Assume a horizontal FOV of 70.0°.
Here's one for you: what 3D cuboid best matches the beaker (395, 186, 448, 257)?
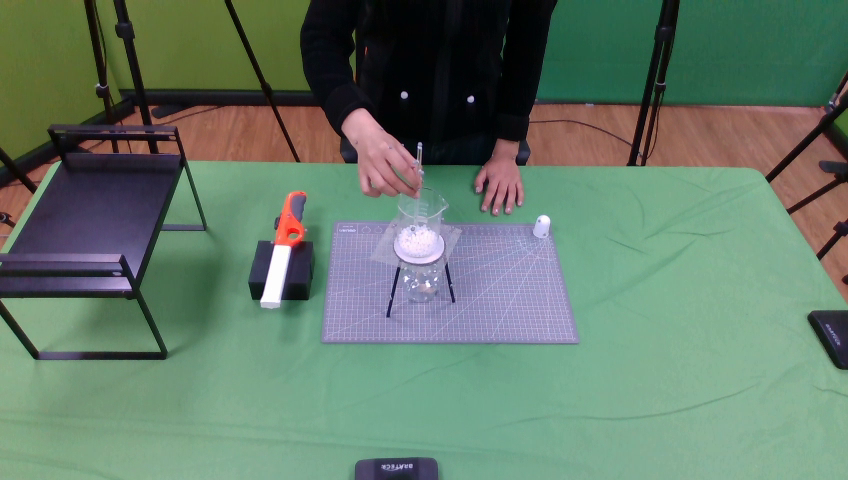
[{"bbox_3d":[-0.006,-0.027,0.985,0.084,0.101,0.073,1,48,-4],"label":"beaker"}]

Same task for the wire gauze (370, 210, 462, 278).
[{"bbox_3d":[-0.012,0.007,1.019,0.121,0.011,0.124,16,51,13],"label":"wire gauze"}]

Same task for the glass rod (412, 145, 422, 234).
[{"bbox_3d":[-0.012,-0.073,0.944,0.008,0.200,0.008,2,52,-2],"label":"glass rod"}]

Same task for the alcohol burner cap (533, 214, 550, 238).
[{"bbox_3d":[0.240,-0.030,1.229,0.034,0.048,0.033,1,46,-1],"label":"alcohol burner cap"}]

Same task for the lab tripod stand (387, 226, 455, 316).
[{"bbox_3d":[-0.013,0.055,1.064,0.148,0.132,0.147,2,48,-2],"label":"lab tripod stand"}]

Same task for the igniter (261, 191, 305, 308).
[{"bbox_3d":[-0.254,0.007,1.104,0.057,0.025,0.275,5,47,-4],"label":"igniter"}]

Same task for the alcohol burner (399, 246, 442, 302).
[{"bbox_3d":[-0.006,0.055,1.078,0.078,0.119,0.077,3,44,-3],"label":"alcohol burner"}]
